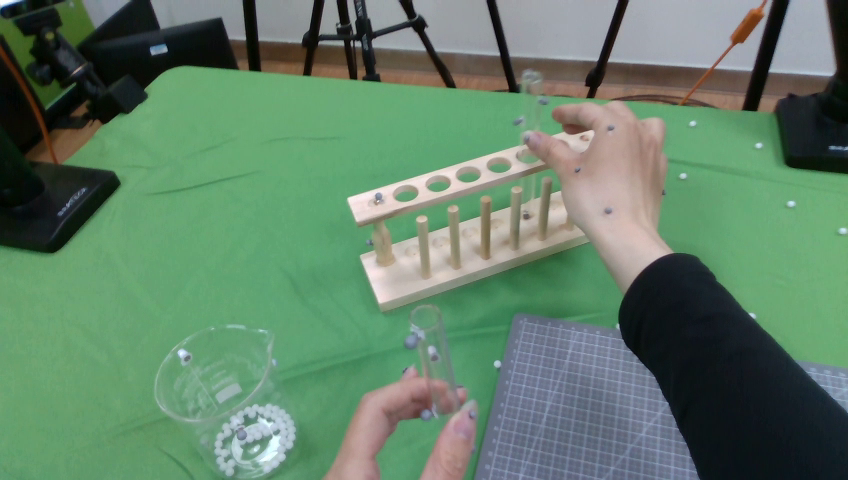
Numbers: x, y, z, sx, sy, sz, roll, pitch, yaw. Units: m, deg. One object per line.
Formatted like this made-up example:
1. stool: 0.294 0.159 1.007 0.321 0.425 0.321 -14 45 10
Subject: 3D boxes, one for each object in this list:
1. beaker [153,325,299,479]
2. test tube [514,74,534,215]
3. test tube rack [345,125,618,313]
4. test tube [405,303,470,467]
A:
1. beaker: -0.130 0.117 0.428 0.073 0.101 0.084 31 56 31
2. test tube: 0.088 -0.078 0.535 0.017 0.152 0.017 -4 47 5
3. test tube rack: 0.059 -0.021 0.553 0.243 0.086 0.066 -18 46 -11
4. test tube: 0.010 0.085 0.326 0.017 0.152 0.017 -6 45 7
